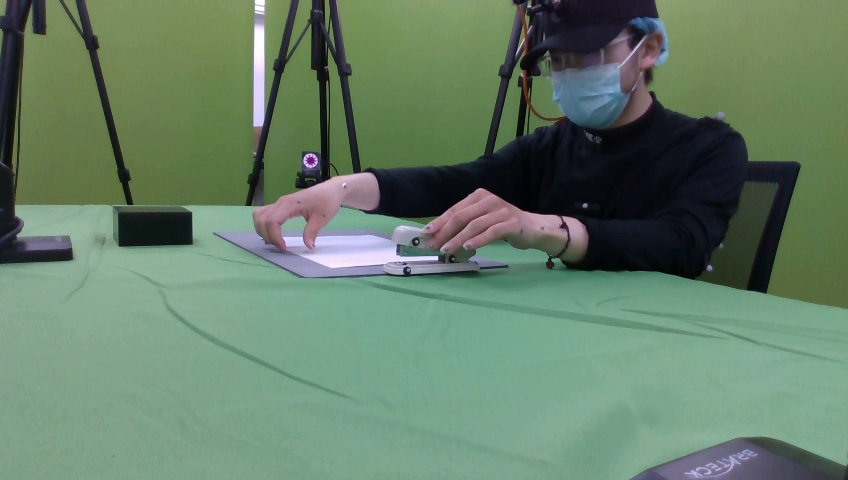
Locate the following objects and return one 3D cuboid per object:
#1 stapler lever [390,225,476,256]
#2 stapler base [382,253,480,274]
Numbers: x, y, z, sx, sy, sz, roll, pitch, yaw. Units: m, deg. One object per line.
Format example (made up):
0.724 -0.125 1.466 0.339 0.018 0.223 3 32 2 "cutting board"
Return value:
0.012 0.002 0.773 0.119 0.040 0.026 0 9 -31 "stapler lever"
0.010 0.027 0.775 0.131 0.024 0.041 0 9 -31 "stapler base"
